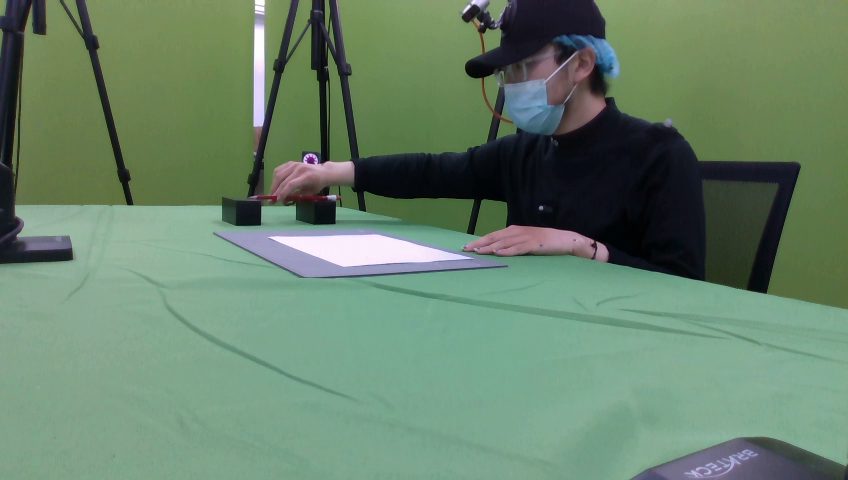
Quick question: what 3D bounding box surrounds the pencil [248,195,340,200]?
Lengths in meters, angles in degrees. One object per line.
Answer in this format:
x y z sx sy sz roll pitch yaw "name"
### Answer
-0.274 -0.090 1.288 0.195 0.012 0.012 -2 9 -22 "pencil"
